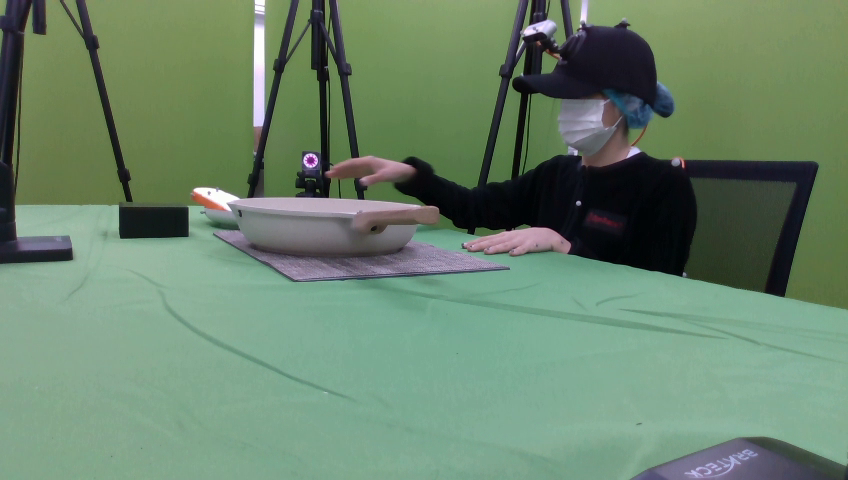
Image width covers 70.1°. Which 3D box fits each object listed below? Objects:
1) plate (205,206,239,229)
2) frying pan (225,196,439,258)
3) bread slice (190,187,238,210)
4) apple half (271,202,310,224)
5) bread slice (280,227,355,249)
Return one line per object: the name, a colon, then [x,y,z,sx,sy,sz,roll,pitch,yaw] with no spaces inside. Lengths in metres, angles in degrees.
plate: [-0.324,-0.046,1.199,0.208,0.039,0.207,3,7,0]
frying pan: [-0.103,-0.027,0.845,0.308,0.102,0.486,-1,0,-25]
bread slice: [-0.402,-0.074,1.218,0.131,0.019,0.105,26,12,15]
apple half: [-0.263,-0.059,1.178,0.081,0.033,0.081,-22,2,1]
bread slice: [-0.171,-0.004,0.943,0.107,0.018,0.134,2,7,-15]
